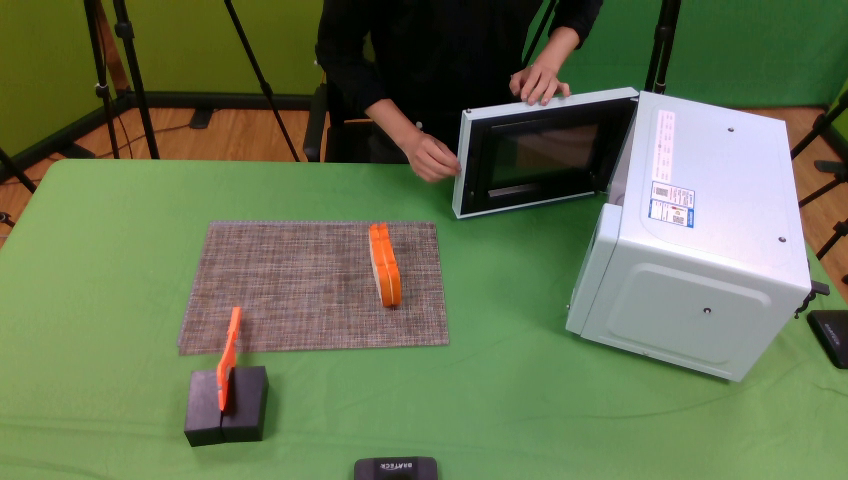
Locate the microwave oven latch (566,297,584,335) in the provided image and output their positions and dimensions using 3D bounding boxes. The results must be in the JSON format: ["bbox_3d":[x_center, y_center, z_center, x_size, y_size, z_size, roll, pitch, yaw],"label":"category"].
[{"bbox_3d":[0.268,0.126,1.059,0.030,0.029,0.079,16,46,12],"label":"microwave oven latch"}]

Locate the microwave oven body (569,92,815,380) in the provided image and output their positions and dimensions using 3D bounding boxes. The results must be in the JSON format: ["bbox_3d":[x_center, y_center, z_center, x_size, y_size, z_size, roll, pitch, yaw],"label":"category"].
[{"bbox_3d":[0.468,-0.021,1.082,0.325,0.261,0.440,15,46,11],"label":"microwave oven body"}]

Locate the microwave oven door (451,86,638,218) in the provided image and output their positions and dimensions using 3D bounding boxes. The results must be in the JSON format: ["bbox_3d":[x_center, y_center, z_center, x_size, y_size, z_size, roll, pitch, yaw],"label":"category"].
[{"bbox_3d":[0.235,-0.173,1.204,0.356,0.245,0.039,-11,48,-14],"label":"microwave oven door"}]

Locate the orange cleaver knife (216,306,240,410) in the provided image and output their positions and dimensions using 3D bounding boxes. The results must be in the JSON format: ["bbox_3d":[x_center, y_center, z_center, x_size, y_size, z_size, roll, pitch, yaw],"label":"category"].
[{"bbox_3d":[-0.307,0.180,0.957,0.012,0.077,0.210,-2,25,-8],"label":"orange cleaver knife"}]

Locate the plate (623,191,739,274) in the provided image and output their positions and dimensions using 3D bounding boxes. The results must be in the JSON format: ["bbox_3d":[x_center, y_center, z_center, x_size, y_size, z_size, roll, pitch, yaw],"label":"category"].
[{"bbox_3d":[0.479,-0.011,1.143,0.208,0.039,0.206,1,46,-1],"label":"plate"}]

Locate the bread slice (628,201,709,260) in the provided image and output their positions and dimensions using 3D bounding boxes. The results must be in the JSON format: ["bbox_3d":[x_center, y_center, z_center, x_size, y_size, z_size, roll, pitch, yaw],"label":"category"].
[{"bbox_3d":[0.473,-0.025,1.162,0.134,0.018,0.106,-25,54,-17],"label":"bread slice"}]
